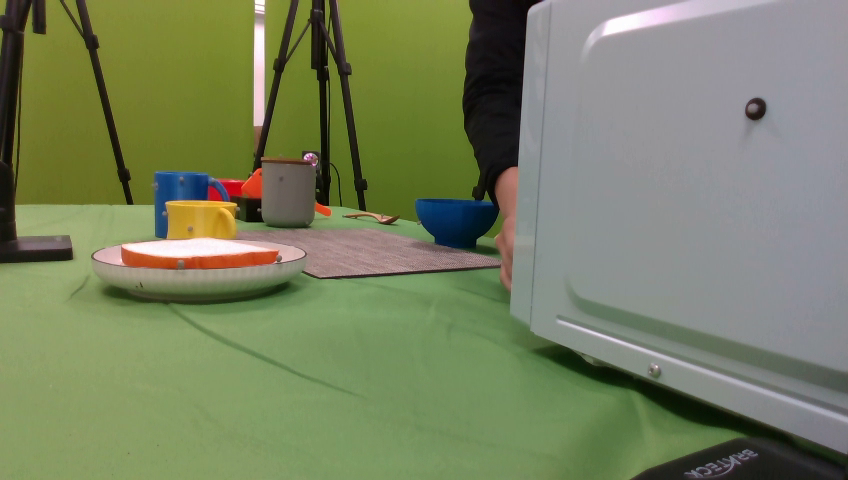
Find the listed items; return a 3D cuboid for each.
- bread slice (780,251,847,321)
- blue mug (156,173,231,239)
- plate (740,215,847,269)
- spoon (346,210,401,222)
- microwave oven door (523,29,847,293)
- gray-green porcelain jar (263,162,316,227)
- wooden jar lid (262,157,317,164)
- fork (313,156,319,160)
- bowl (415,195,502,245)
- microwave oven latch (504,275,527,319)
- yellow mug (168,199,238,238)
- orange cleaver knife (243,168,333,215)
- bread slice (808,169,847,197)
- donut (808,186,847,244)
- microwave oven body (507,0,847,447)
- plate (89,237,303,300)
[{"bbox_3d":[0.370,0.027,0.478,0.132,0.019,0.104,-25,10,-8],"label":"bread slice"},{"bbox_3d":[-0.381,-0.057,1.004,0.117,0.106,0.082,0,8,-12],"label":"blue mug"},{"bbox_3d":[0.358,0.001,0.463,0.209,0.038,0.209,1,4,0],"label":"plate"},{"bbox_3d":[-0.121,-0.060,1.400,0.042,0.021,0.192,-27,25,-38],"label":"spoon"},{"bbox_3d":[0.276,-0.072,0.612,0.357,0.243,0.039,0,8,-16],"label":"microwave oven door"},{"bbox_3d":[-0.271,-0.092,1.217,0.106,0.126,0.106,2,7,0],"label":"gray-green porcelain jar"},{"bbox_3d":[-0.269,-0.154,1.209,0.108,0.020,0.108,3,4,0],"label":"wooden jar lid"},{"bbox_3d":[-0.331,-0.144,1.506,0.207,0.018,0.028,-42,-17,22],"label":"fork"},{"bbox_3d":[0.059,-0.035,1.049,0.151,0.077,0.151,2,7,0],"label":"bowl"},{"bbox_3d":[0.100,0.042,0.471,0.079,0.029,0.030,-1,7,-28],"label":"microwave oven latch"},{"bbox_3d":[-0.320,-0.023,0.904,0.130,0.064,0.100,9,11,36],"label":"yellow mug"},{"bbox_3d":[-0.300,-0.089,1.352,0.212,0.077,0.012,28,-9,-34],"label":"orange cleaver knife"},{"bbox_3d":[0.365,-0.051,0.451,0.135,0.018,0.106,-10,2,-21],"label":"bread slice"},{"bbox_3d":[0.351,-0.022,0.463,0.099,0.048,0.099,-10,5,1],"label":"donut"},{"bbox_3d":[0.331,-0.042,0.426,0.444,0.260,0.324,-2,8,-31],"label":"microwave oven body"},{"bbox_3d":[-0.233,0.029,0.637,0.208,0.039,0.207,2,7,0],"label":"plate"}]
